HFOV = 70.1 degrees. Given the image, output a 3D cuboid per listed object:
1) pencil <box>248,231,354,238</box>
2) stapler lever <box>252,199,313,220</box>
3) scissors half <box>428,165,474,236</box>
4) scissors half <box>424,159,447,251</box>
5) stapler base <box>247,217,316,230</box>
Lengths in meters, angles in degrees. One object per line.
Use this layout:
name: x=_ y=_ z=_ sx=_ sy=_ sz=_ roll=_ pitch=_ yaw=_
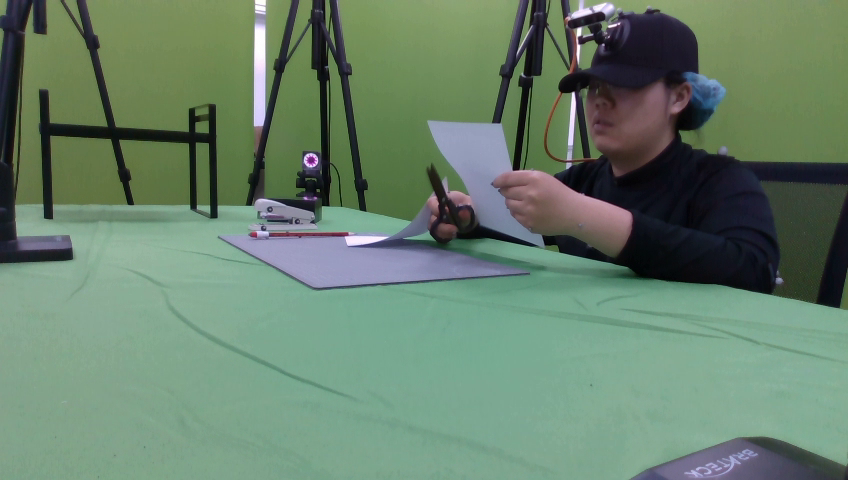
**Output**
pencil: x=-0.206 y=-0.009 z=1.039 sx=0.195 sy=0.012 sz=0.012 roll=0 pitch=8 yaw=-36
stapler lever: x=-0.273 y=-0.058 z=1.170 sx=0.119 sy=0.040 sz=0.026 roll=0 pitch=10 yaw=-37
scissors half: x=0.041 y=-0.061 z=0.940 sx=0.012 sy=0.040 sz=0.176 roll=51 pitch=0 yaw=41
scissors half: x=0.021 y=-0.050 z=0.935 sx=0.040 sy=0.175 sz=0.013 roll=-20 pitch=45 yaw=-27
stapler base: x=-0.276 y=-0.033 z=1.172 sx=0.131 sy=0.024 sz=0.041 roll=0 pitch=10 yaw=-37
